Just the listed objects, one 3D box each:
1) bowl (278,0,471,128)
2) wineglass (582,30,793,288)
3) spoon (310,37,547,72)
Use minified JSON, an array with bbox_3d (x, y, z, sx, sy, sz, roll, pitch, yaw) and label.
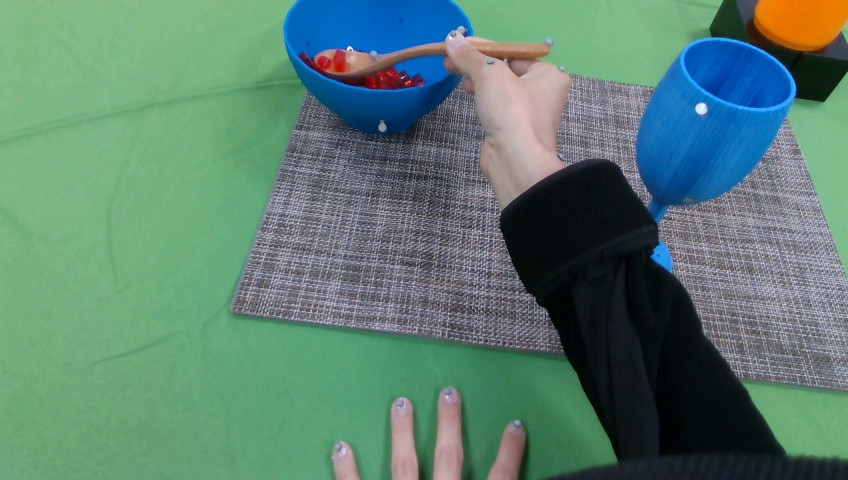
[{"bbox_3d":[-0.040,-0.147,0.506,0.151,0.077,0.150,3,54,-4],"label":"bowl"},{"bbox_3d":[0.158,-0.042,0.391,0.074,0.173,0.073,3,53,-3],"label":"wineglass"},{"bbox_3d":[-0.004,-0.140,0.448,0.192,0.022,0.041,5,41,30],"label":"spoon"}]
